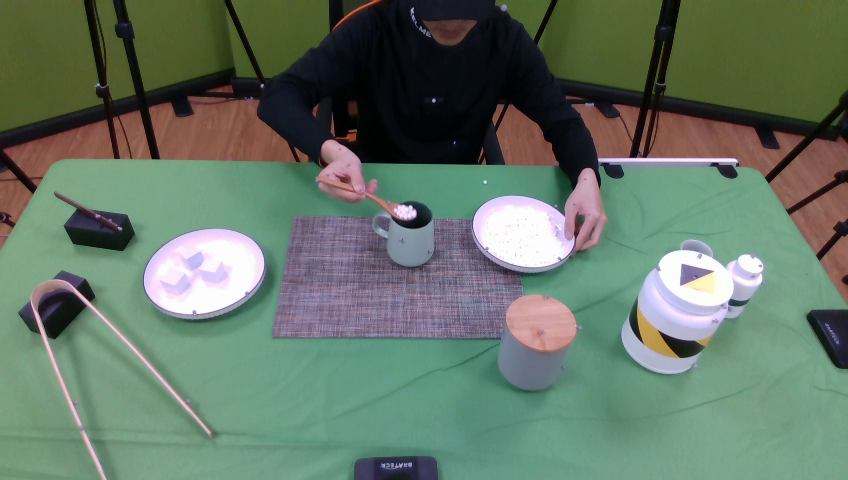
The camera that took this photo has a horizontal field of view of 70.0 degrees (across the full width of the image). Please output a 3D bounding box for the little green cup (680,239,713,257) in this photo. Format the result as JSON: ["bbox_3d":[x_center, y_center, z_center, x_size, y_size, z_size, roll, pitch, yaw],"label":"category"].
[{"bbox_3d":[0.530,0.033,1.189,0.061,0.039,0.061,2,48,-2],"label":"little green cup"}]

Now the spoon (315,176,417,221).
[{"bbox_3d":[-0.101,-0.077,1.076,0.194,0.022,0.041,24,39,-20],"label":"spoon"}]

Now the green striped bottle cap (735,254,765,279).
[{"bbox_3d":[0.566,0.046,1.051,0.044,0.020,0.044,0,45,0],"label":"green striped bottle cap"}]

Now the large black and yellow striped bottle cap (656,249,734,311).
[{"bbox_3d":[0.419,0.061,0.938,0.115,0.019,0.114,2,47,-2],"label":"large black and yellow striped bottle cap"}]

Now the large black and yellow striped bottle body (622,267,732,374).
[{"bbox_3d":[0.415,0.119,0.997,0.131,0.185,0.130,2,46,-2],"label":"large black and yellow striped bottle body"}]

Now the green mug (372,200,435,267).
[{"bbox_3d":[-0.040,-0.016,1.146,0.125,0.105,0.092,17,48,13],"label":"green mug"}]

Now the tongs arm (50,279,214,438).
[{"bbox_3d":[-0.459,0.178,0.949,0.386,0.028,0.028,37,60,17],"label":"tongs arm"}]

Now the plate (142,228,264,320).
[{"bbox_3d":[-0.394,0.064,1.095,0.208,0.039,0.206,2,46,-2],"label":"plate"}]

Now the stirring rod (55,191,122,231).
[{"bbox_3d":[-0.632,-0.055,1.138,0.175,0.014,0.006,24,51,19],"label":"stirring rod"}]

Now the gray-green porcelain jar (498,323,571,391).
[{"bbox_3d":[0.176,0.172,0.971,0.106,0.127,0.105,2,46,-2],"label":"gray-green porcelain jar"}]

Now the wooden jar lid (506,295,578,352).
[{"bbox_3d":[0.179,0.130,0.925,0.108,0.021,0.107,2,43,-2],"label":"wooden jar lid"}]

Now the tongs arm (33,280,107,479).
[{"bbox_3d":[-0.517,0.214,0.910,0.051,0.026,0.383,-29,63,-27],"label":"tongs arm"}]

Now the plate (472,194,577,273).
[{"bbox_3d":[0.196,-0.010,1.205,0.209,0.038,0.208,4,46,-4],"label":"plate"}]

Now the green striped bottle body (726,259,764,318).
[{"bbox_3d":[0.563,0.081,1.089,0.063,0.120,0.063,2,46,-2],"label":"green striped bottle body"}]
